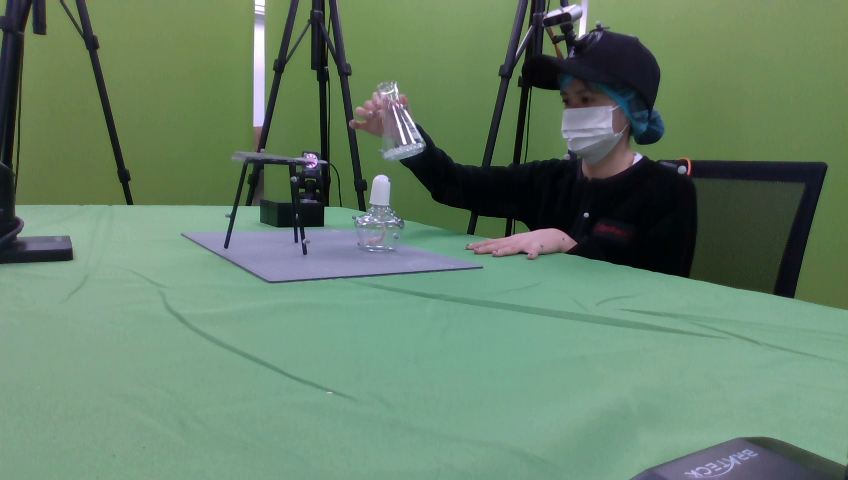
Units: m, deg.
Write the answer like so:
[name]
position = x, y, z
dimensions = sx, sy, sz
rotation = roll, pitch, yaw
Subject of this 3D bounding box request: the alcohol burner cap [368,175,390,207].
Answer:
[alcohol burner cap]
position = -0.067, -0.075, 0.923
dimensions = 0.034, 0.048, 0.034
rotation = 8, 11, -1

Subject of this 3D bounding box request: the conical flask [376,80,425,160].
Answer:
[conical flask]
position = -0.047, -0.197, 0.991
dimensions = 0.075, 0.122, 0.075
rotation = -13, 0, 0

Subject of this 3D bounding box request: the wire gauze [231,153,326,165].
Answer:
[wire gauze]
position = -0.215, -0.118, 0.881
dimensions = 0.125, 0.011, 0.121
rotation = 1, 7, -19

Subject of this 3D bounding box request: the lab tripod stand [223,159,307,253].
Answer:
[lab tripod stand]
position = -0.220, -0.053, 0.896
dimensions = 0.148, 0.131, 0.148
rotation = 1, 6, 0

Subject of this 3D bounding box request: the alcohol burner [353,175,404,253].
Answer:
[alcohol burner]
position = -0.069, -0.040, 0.926
dimensions = 0.078, 0.119, 0.078
rotation = 1, 9, 0
